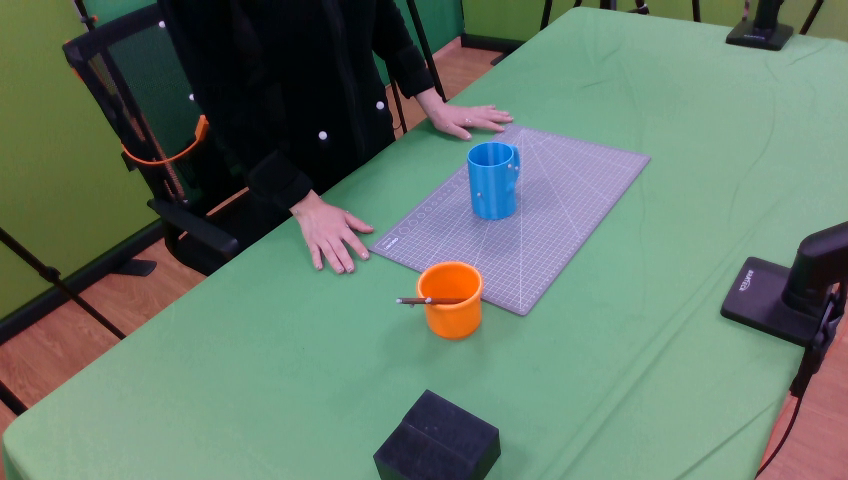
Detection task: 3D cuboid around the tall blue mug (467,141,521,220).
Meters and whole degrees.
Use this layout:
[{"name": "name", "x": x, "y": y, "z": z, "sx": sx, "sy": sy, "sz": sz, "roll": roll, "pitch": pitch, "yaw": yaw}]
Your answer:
[{"name": "tall blue mug", "x": 0.119, "y": -0.109, "z": 1.020, "sx": 0.077, "sy": 0.108, "sz": 0.107, "roll": 3, "pitch": 42, "yaw": 15}]

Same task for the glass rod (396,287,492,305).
[{"name": "glass rod", "x": 0.033, "y": 0.074, "z": 0.802, "sx": 0.008, "sy": 0.008, "sz": 0.201, "roll": 28, "pitch": 19, "yaw": 36}]
